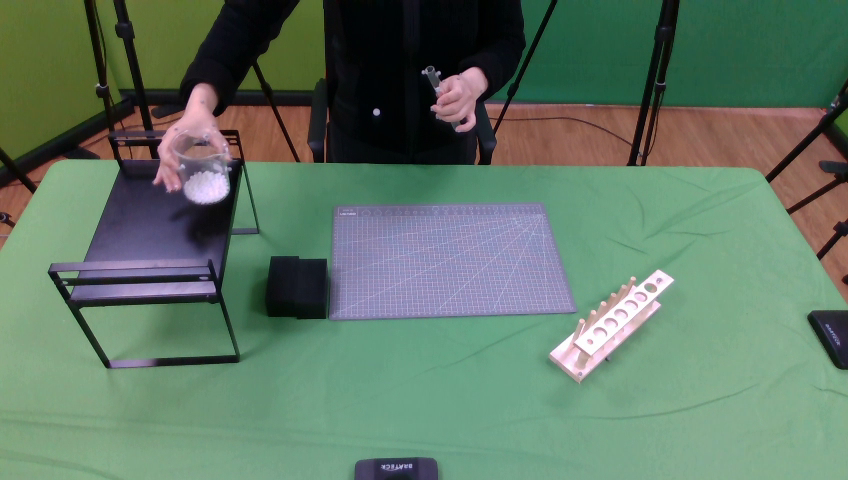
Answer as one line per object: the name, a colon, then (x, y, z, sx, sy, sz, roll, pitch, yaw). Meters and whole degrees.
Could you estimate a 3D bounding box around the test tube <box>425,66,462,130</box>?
test tube: (0.035, -0.236, 1.023, 0.017, 0.151, 0.017, -11, 57, 18)

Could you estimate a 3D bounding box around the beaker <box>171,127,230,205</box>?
beaker: (-0.336, -0.110, 0.929, 0.084, 0.101, 0.073, 14, 47, 2)

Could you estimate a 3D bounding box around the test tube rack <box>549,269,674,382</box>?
test tube rack: (0.325, 0.134, 1.047, 0.242, 0.085, 0.066, -32, 56, -30)
